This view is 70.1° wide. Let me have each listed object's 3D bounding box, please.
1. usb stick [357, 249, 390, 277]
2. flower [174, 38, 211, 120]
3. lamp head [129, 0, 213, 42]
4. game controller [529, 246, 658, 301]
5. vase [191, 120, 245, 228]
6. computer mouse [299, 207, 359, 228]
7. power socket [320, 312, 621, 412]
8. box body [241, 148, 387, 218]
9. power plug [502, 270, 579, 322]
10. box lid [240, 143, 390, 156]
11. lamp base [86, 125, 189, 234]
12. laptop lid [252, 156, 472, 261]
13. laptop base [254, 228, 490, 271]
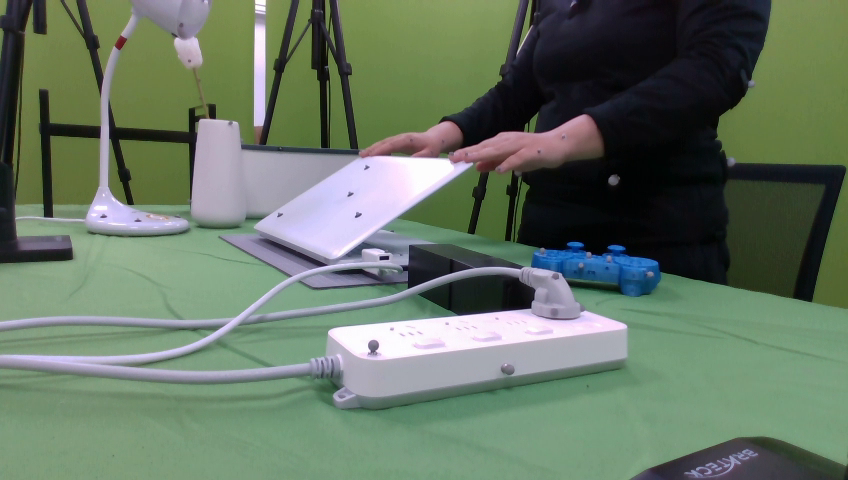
[{"bbox_3d":[-0.063,0.025,0.707,0.021,0.027,0.059,-6,8,-31],"label":"usb stick"},{"bbox_3d":[-0.401,-0.207,1.141,0.038,0.361,0.044,-14,3,44],"label":"flower"},{"bbox_3d":[-0.423,-0.394,0.980,0.123,0.112,0.112,20,7,-3],"label":"lamp head"},{"bbox_3d":[0.202,0.036,0.733,0.155,0.051,0.097,5,11,20],"label":"game controller"},{"bbox_3d":[-0.389,-0.124,1.143,0.098,0.200,0.098,3,9,0],"label":"vase"},{"bbox_3d":[-0.195,-0.046,1.240,0.117,0.041,0.063,-1,9,12],"label":"computer mouse"},{"bbox_3d":[0.038,0.075,0.409,0.228,0.032,0.072,-2,8,-29],"label":"power socket"},{"bbox_3d":[-0.297,-0.143,1.475,0.366,0.160,0.253,-1,9,-30],"label":"box body"},{"bbox_3d":[0.090,0.051,0.469,0.035,0.052,0.072,0,5,-19],"label":"power plug"},{"bbox_3d":[-0.295,-0.217,1.464,0.373,0.015,0.262,-1,8,-30],"label":"box lid"},{"bbox_3d":[-0.497,-0.105,1.027,0.179,0.180,0.160,1,7,2],"label":"lamp base"},{"bbox_3d":[-0.110,-0.063,0.891,0.242,0.013,0.355,-36,24,-20],"label":"laptop lid"},{"bbox_3d":[-0.096,0.011,0.912,0.237,0.023,0.352,2,7,-32],"label":"laptop base"}]
